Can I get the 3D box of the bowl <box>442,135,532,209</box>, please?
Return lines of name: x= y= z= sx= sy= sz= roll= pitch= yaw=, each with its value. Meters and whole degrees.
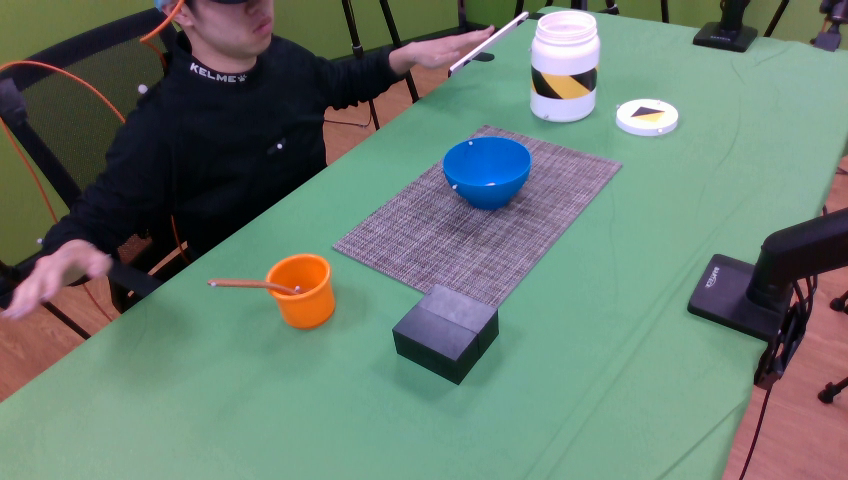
bowl: x=0.108 y=-0.106 z=1.026 sx=0.151 sy=0.077 sz=0.150 roll=-4 pitch=41 yaw=4

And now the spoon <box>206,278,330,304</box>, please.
spoon: x=-0.207 y=0.066 z=0.824 sx=0.041 sy=0.195 sz=0.021 roll=34 pitch=100 yaw=41

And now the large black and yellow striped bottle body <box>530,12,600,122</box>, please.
large black and yellow striped bottle body: x=0.279 y=-0.344 z=1.202 sx=0.131 sy=0.185 sz=0.130 roll=-4 pitch=41 yaw=4

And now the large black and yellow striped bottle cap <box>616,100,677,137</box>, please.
large black and yellow striped bottle cap: x=0.438 y=-0.241 z=1.190 sx=0.115 sy=0.019 sz=0.114 roll=-4 pitch=42 yaw=4
